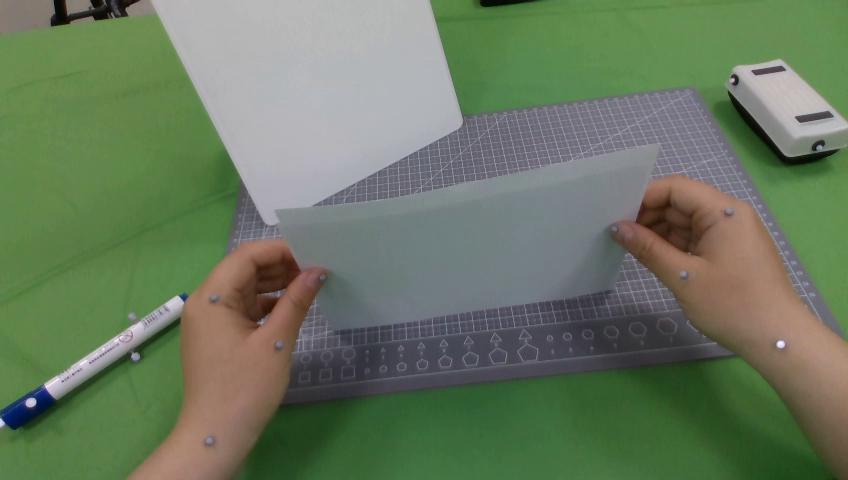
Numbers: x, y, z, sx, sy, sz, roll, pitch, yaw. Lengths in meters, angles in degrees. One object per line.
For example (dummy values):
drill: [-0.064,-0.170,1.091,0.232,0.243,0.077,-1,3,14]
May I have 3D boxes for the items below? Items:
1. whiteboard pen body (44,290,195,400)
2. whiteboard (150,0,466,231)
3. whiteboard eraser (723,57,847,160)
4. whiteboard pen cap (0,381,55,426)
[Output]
whiteboard pen body: [-0.234,0.082,0.450,0.140,0.017,0.017,-37,54,-25]
whiteboard: [-0.123,-0.206,0.539,0.217,0.308,0.142,-30,31,-17]
whiteboard eraser: [0.321,-0.118,0.542,0.055,0.042,0.111,-12,49,-1]
whiteboard pen cap: [-0.277,0.113,0.426,0.033,0.018,0.018,-38,55,-25]
